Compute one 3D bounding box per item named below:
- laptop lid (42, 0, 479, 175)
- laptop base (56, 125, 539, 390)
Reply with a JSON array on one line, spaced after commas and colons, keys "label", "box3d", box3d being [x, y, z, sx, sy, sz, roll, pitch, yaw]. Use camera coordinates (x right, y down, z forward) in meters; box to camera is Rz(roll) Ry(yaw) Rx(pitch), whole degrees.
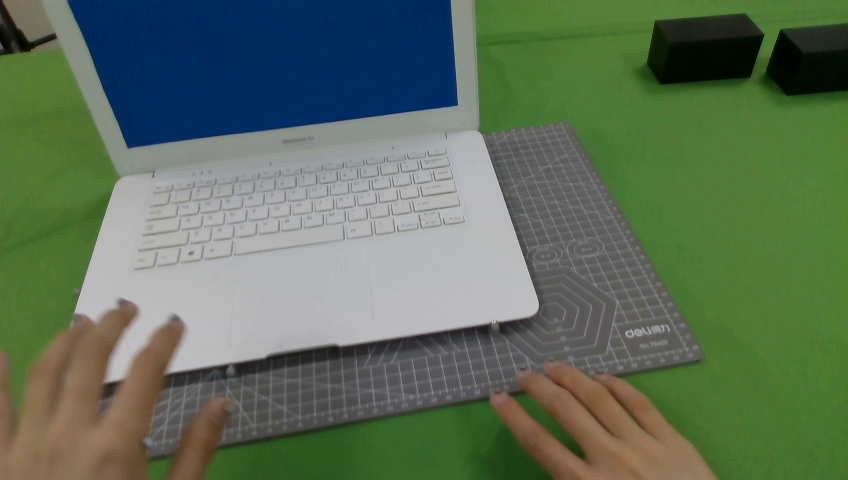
[{"label": "laptop lid", "box3d": [-0.130, -0.178, 0.527, 0.357, 0.244, 0.013, -10, 36, -2]}, {"label": "laptop base", "box3d": [-0.102, 0.001, 0.515, 0.354, 0.023, 0.233, -8, 49, -3]}]
